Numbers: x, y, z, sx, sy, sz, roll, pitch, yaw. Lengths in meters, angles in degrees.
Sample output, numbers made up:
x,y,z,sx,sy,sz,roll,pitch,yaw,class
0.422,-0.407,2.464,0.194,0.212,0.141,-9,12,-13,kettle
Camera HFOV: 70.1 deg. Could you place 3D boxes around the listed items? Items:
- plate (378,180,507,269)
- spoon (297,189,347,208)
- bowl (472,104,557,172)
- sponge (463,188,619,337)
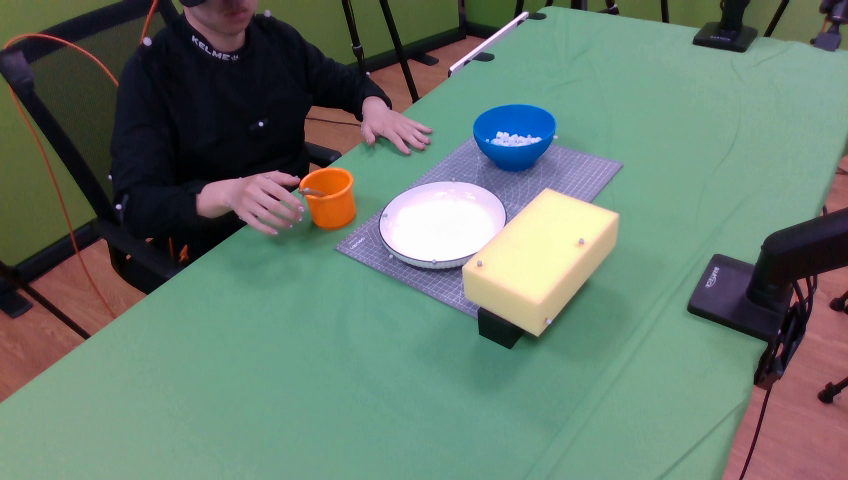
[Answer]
x,y,z,sx,sy,sz,roll,pitch,yaw,class
0.031,-0.022,0.974,0.209,0.038,0.208,-4,40,4,plate
-0.169,-0.069,0.979,0.041,0.194,0.021,0,85,10,spoon
0.165,-0.178,1.105,0.151,0.077,0.150,-4,40,4,bowl
0.160,0.022,0.814,0.117,0.061,0.207,24,50,32,sponge
